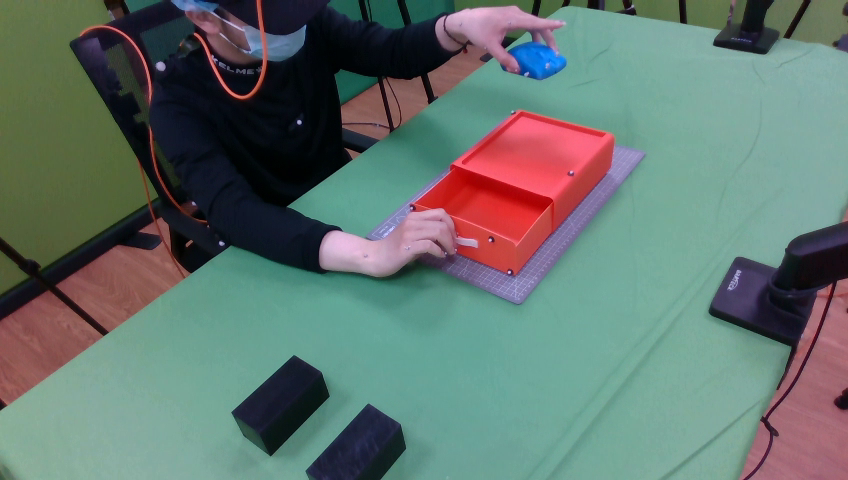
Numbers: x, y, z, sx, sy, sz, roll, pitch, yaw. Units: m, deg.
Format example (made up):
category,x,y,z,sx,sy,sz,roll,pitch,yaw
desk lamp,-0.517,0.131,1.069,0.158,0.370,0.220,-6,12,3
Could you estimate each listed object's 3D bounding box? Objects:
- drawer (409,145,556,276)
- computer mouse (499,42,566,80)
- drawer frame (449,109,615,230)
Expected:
category,x,y,z,sx,sy,sz,roll,pitch,yaw
drawer,0.117,-0.060,0.972,0.193,0.073,0.212,22,49,31
computer mouse,0.179,-0.299,1.006,0.063,0.041,0.116,-28,39,-19
drawer frame,0.185,-0.126,1.037,0.200,0.083,0.214,22,48,31
